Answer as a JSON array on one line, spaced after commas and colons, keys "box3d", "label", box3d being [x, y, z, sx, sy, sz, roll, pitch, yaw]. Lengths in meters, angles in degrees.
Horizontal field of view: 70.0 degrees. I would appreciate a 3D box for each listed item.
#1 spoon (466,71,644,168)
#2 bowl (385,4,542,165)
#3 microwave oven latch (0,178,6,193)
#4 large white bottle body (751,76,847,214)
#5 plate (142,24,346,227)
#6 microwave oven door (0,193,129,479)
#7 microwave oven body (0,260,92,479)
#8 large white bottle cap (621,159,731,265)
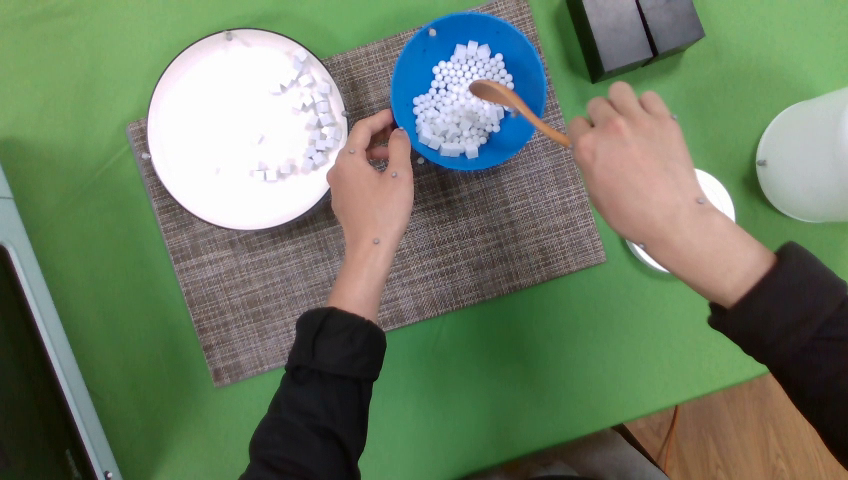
[{"box3d": [0.111, -0.107, 0.539, 0.192, 0.042, 0.021, 41, 93, 30], "label": "spoon"}, {"box3d": [0.038, -0.148, 0.614, 0.151, 0.077, 0.151, 0, 94, 1], "label": "bowl"}, {"box3d": [-0.465, -0.083, 0.624, 0.030, 0.029, 0.079, -20, 93, 1], "label": "microwave oven latch"}, {"box3d": [0.413, -0.090, 0.564, 0.130, 0.184, 0.130, 0, 92, 1], "label": "large white bottle body"}, {"box3d": [-0.184, -0.117, 0.635, 0.209, 0.038, 0.209, 0, 92, 0], "label": "plate"}, {"box3d": [-0.392, 0.126, 0.533, 0.039, 0.243, 0.356, -21, 92, 1], "label": "microwave oven door"}, {"box3d": [-0.544, 0.138, 0.538, 0.326, 0.260, 0.442, -21, 93, 1], "label": "microwave oven body"}, {"box3d": [0.270, -0.030, 0.651, 0.115, 0.018, 0.115, 0, 93, -1], "label": "large white bottle cap"}]
